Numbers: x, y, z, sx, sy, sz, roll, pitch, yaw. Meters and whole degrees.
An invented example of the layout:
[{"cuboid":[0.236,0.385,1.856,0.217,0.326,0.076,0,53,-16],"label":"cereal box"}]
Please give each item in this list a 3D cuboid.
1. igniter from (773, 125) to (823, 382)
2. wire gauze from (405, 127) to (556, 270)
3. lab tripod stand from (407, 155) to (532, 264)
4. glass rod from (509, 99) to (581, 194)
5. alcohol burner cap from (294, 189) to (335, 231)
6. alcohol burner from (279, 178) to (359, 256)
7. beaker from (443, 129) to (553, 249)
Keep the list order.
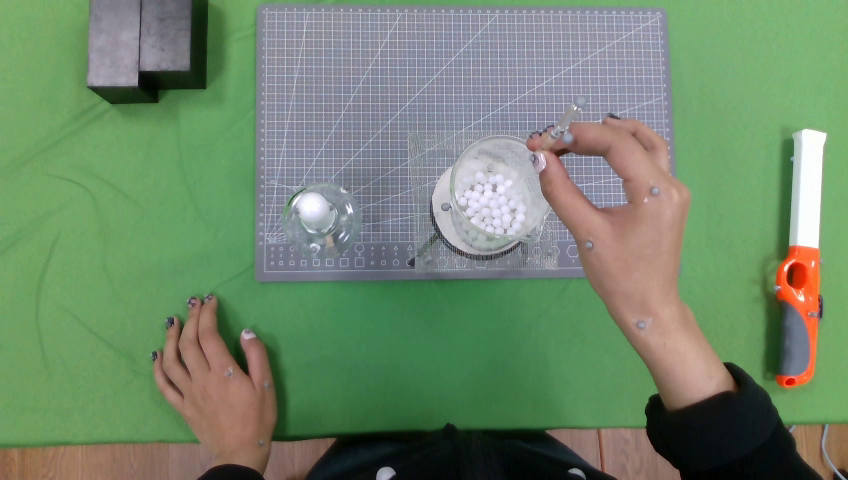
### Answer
[{"cuboid":[0.401,0.014,0.648,0.057,0.025,0.276,8,84,-13],"label":"igniter"},{"cuboid":[0.048,-0.036,0.514,0.125,0.011,0.121,-2,83,-1],"label":"wire gauze"},{"cuboid":[0.044,-0.025,0.579,0.148,0.132,0.148,0,83,-1],"label":"lab tripod stand"},{"cuboid":[0.075,-0.055,0.406,0.008,0.200,0.008,0,81,-1],"label":"glass rod"},{"cuboid":[-0.100,-0.028,0.546,0.034,0.048,0.033,0,80,0],"label":"alcohol burner cap"},{"cuboid":[-0.102,-0.025,0.582,0.078,0.119,0.077,0,82,-3],"label":"alcohol burner"},{"cuboid":[0.053,-0.031,0.466,0.074,0.100,0.084,-33,85,-6],"label":"beaker"}]
